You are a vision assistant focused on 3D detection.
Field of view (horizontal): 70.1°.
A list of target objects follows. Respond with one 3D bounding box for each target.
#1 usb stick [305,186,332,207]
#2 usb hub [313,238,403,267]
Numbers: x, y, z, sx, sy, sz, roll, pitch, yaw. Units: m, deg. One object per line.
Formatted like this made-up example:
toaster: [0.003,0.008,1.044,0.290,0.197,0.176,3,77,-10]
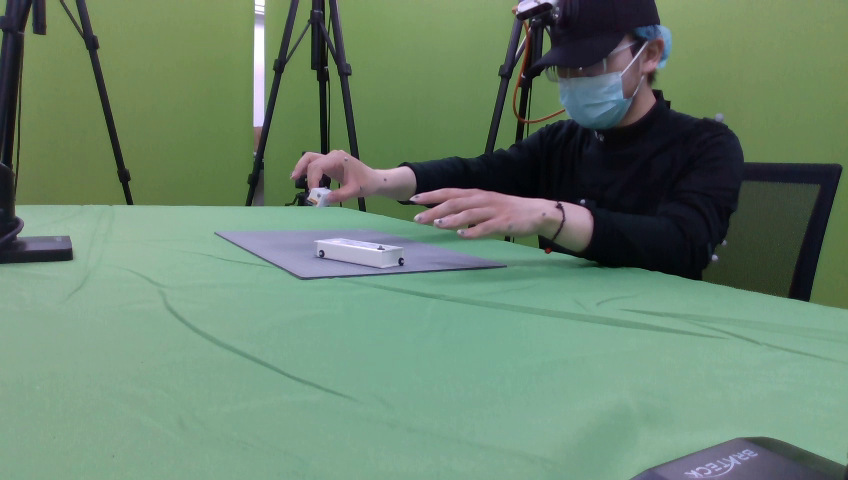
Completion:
usb stick: [-0.168,-0.069,0.954,0.021,0.027,0.059,28,18,7]
usb hub: [-0.091,0.016,0.818,0.124,0.025,0.050,7,9,36]
